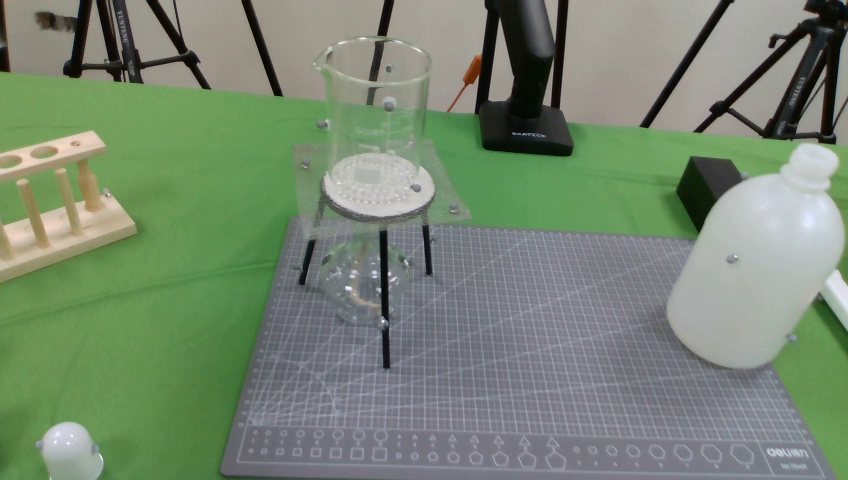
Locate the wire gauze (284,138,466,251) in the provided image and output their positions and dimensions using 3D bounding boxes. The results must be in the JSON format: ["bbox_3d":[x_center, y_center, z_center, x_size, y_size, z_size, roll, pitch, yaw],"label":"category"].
[{"bbox_3d":[-0.042,-0.043,0.466,0.122,0.011,0.123,-7,44,-14],"label":"wire gauze"}]

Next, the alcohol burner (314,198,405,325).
[{"bbox_3d":[-0.054,0.014,0.513,0.078,0.120,0.077,6,37,-4],"label":"alcohol burner"}]

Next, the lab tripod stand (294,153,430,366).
[{"bbox_3d":[-0.044,0.009,0.506,0.148,0.132,0.147,6,40,-4],"label":"lab tripod stand"}]

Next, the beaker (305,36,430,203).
[{"bbox_3d":[-0.042,-0.084,0.437,0.084,0.101,0.073,-1,41,-10],"label":"beaker"}]

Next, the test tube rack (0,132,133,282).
[{"bbox_3d":[-0.394,-0.010,0.520,0.243,0.086,0.066,-26,49,-34],"label":"test tube rack"}]

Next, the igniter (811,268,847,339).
[{"bbox_3d":[0.407,0.118,0.526,0.057,0.025,0.274,12,38,-10],"label":"igniter"}]

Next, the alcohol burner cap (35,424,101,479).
[{"bbox_3d":[-0.232,0.140,0.393,0.034,0.048,0.033,5,38,-4],"label":"alcohol burner cap"}]

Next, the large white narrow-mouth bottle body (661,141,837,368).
[{"bbox_3d":[0.274,0.010,0.502,0.102,0.196,0.101,3,39,-2],"label":"large white narrow-mouth bottle body"}]
